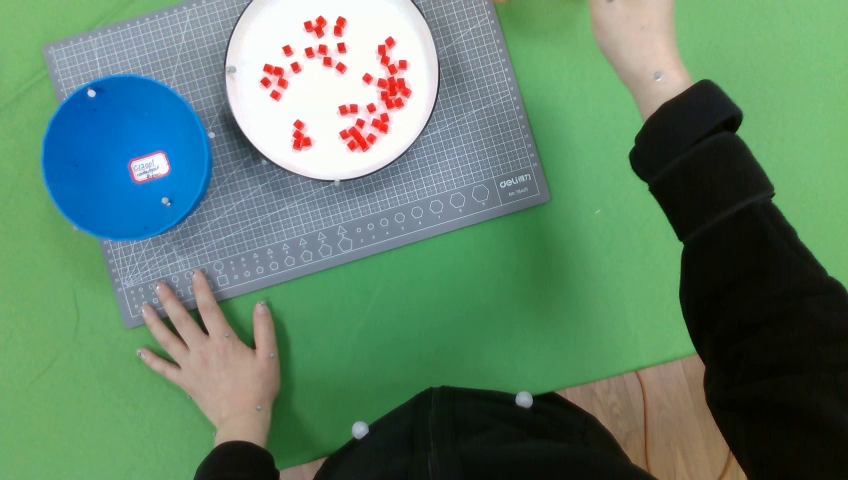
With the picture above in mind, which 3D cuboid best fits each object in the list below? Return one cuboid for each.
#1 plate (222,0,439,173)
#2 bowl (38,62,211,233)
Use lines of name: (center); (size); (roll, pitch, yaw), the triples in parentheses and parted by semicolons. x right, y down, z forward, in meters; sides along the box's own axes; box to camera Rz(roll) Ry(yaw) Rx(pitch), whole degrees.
plate: (-0.089, -0.169, 0.594); (0.209, 0.038, 0.209); (0, 91, 0)
bowl: (-0.267, -0.081, 0.574); (0.151, 0.077, 0.151); (0, 91, 0)
